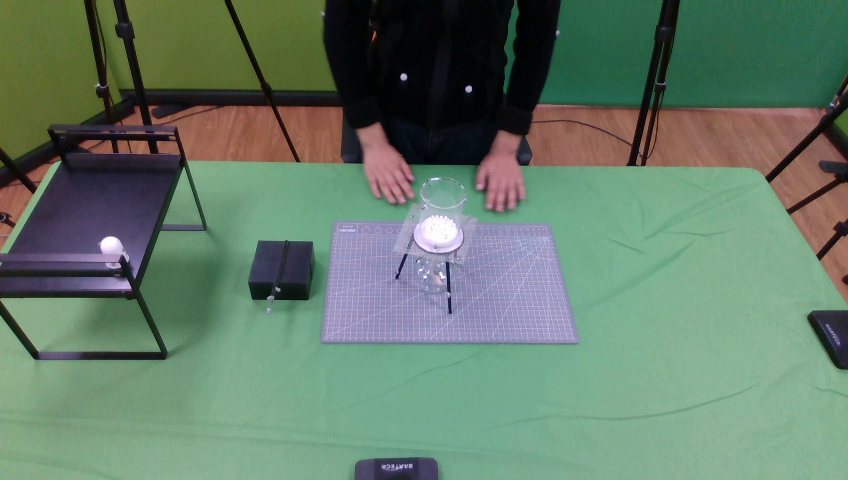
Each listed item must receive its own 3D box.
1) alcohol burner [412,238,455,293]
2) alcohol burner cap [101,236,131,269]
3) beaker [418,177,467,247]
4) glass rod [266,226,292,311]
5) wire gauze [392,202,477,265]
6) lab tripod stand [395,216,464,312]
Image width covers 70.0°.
[{"bbox_3d":[0.019,0.040,1.094,0.078,0.119,0.077,4,45,-3],"label":"alcohol burner"},{"bbox_3d":[-0.452,0.016,0.883,0.034,0.048,0.033,2,47,-1],"label":"alcohol burner cap"},{"bbox_3d":[0.026,-0.045,1.004,0.074,0.101,0.083,-20,51,-22],"label":"beaker"},{"bbox_3d":[-0.256,0.047,1.076,0.008,0.008,0.198,4,46,-1],"label":"glass rod"},{"bbox_3d":[0.021,-0.011,1.037,0.121,0.011,0.124,13,49,8],"label":"wire gauze"},{"bbox_3d":[0.023,0.037,1.084,0.148,0.132,0.147,4,47,-4],"label":"lab tripod stand"}]
